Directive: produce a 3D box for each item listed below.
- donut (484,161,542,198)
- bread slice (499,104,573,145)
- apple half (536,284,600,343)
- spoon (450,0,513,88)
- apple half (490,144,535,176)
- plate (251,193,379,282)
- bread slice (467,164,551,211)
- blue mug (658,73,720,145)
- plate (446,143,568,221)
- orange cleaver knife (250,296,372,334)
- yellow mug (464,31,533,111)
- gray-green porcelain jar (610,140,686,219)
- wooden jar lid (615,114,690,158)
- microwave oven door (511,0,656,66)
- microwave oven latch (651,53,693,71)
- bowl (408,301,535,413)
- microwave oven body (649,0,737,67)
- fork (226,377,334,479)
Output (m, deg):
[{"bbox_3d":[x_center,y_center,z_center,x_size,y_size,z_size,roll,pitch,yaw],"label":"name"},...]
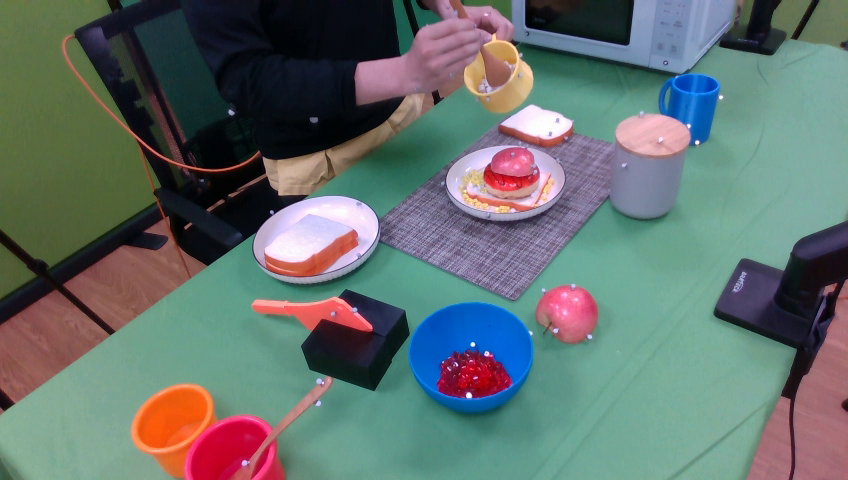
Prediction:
[{"bbox_3d":[0.149,-0.109,1.016,0.099,0.048,0.098,-4,40,4],"label":"donut"},{"bbox_3d":[0.231,-0.231,1.205,0.105,0.019,0.130,-37,47,-28],"label":"bread slice"},{"bbox_3d":[0.196,0.091,0.815,0.075,0.053,0.080,-22,42,-20],"label":"apple half"},{"bbox_3d":[0.080,-0.284,0.872,0.041,0.195,0.021,-35,47,12],"label":"spoon"},{"bbox_3d":[0.147,-0.139,0.994,0.081,0.033,0.081,2,39,-1],"label":"apple half"},{"bbox_3d":[-0.174,-0.001,0.984,0.209,0.038,0.208,-4,40,4],"label":"plate"},{"bbox_3d":[0.143,-0.090,1.047,0.134,0.018,0.107,12,47,16],"label":"bread slice"},{"bbox_3d":[0.483,-0.250,1.127,0.082,0.106,0.115,-26,44,-19],"label":"blue mug"},{"bbox_3d":[0.142,-0.097,1.045,0.207,0.039,0.206,-4,40,4],"label":"plate"},{"bbox_3d":[-0.159,0.103,0.828,0.210,0.078,0.012,-4,43,39],"label":"orange cleaver knife"},{"bbox_3d":[0.126,-0.292,1.020,0.099,0.064,0.130,-8,70,29],"label":"yellow mug"},{"bbox_3d":[0.354,-0.106,0.964,0.106,0.127,0.105,-4,41,4],"label":"gray-green porcelain jar"},{"bbox_3d":[0.347,-0.155,0.923,0.108,0.021,0.108,-3,44,4],"label":"wooden jar lid"},{"bbox_3d":[0.351,-0.540,1.349,0.353,0.245,0.039,24,50,31],"label":"microwave oven door"},{"bbox_3d":[0.532,-0.386,1.301,0.078,0.029,0.030,27,52,34],"label":"microwave oven latch"},{"bbox_3d":[0.059,0.156,0.739,0.151,0.077,0.150,-4,40,4],"label":"bowl"},{"bbox_3d":[0.475,-0.602,1.411,0.438,0.261,0.327,23,50,32],"label":"microwave oven body"},{"bbox_3d":[-0.163,0.216,0.647,0.207,0.019,0.028,-49,41,16],"label":"fork"}]
